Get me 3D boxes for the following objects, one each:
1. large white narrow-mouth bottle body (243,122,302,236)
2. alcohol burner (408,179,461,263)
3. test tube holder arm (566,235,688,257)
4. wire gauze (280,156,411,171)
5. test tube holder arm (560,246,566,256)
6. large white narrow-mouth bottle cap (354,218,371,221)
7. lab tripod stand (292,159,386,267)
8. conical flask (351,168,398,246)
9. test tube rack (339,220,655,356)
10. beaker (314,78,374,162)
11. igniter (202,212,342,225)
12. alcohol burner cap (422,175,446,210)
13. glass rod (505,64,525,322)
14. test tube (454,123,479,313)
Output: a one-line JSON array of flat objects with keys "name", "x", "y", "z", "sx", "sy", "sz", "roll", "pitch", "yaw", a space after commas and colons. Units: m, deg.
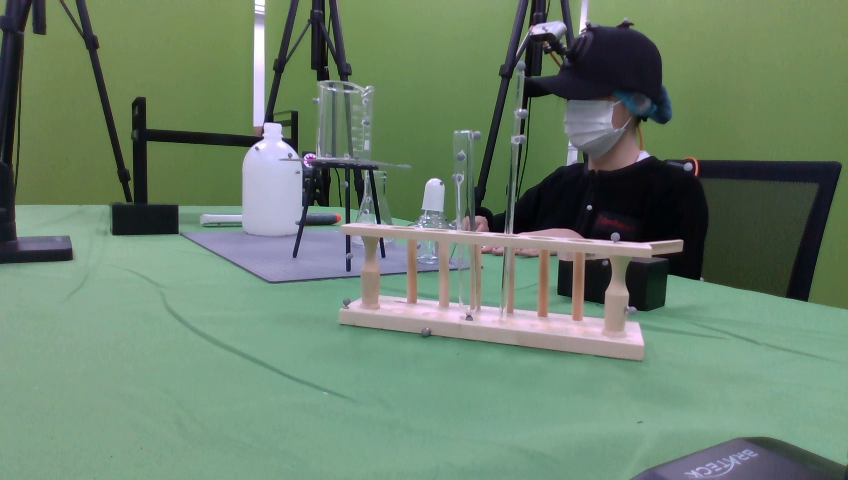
[{"name": "large white narrow-mouth bottle body", "x": -0.264, "y": -0.109, "z": 1.061, "sx": 0.102, "sy": 0.194, "sz": 0.102, "roll": 2, "pitch": 8, "yaw": 0}, {"name": "alcohol burner", "x": 0.014, "y": -0.029, "z": 0.834, "sx": 0.078, "sy": 0.119, "sz": 0.078, "roll": 0, "pitch": 6, "yaw": 0}, {"name": "test tube holder arm", "x": 0.215, "y": 0.006, "z": 0.629, "sx": 0.179, "sy": 0.015, "sz": 0.013, "roll": -3, "pitch": 9, "yaw": -30}, {"name": "wire gauze", "x": -0.103, "y": -0.103, "z": 0.785, "sx": 0.121, "sy": 0.011, "sz": 0.126, "roll": 11, "pitch": 8, "yaw": 42}, {"name": "test tube holder arm", "x": 0.173, "y": 0.007, "z": 0.611, "sx": 0.088, "sy": 0.015, "sz": 0.010, "roll": -3, "pitch": 9, "yaw": -30}, {"name": "large white narrow-mouth bottle cap", "x": -0.120, "y": -0.029, "z": 1.184, "sx": 0.038, "sy": 0.024, "sz": 0.037, "roll": 2, "pitch": 8, "yaw": 0}, {"name": "lab tripod stand", "x": -0.105, "y": -0.039, "z": 0.797, "sx": 0.148, "sy": 0.131, "sz": 0.148, "roll": 2, "pitch": 5, "yaw": 0}, {"name": "conical flask", "x": -0.078, "y": -0.053, "z": 0.962, "sx": 0.075, "sy": 0.122, "sz": 0.075, "roll": 2, "pitch": 7, "yaw": 0}, {"name": "test tube rack", "x": 0.056, "y": 0.032, "z": 0.495, "sx": 0.242, "sy": 0.085, "sz": 0.067, "roll": 4, "pitch": 7, "yaw": 15}, {"name": "beaker", "x": -0.101, "y": -0.151, "z": 0.775, "sx": 0.074, "sy": 0.100, "sz": 0.083, "roll": -2, "pitch": 8, "yaw": -39}, {"name": "igniter", "x": -0.298, "y": -0.043, "z": 1.216, "sx": 0.278, "sy": 0.025, "sz": 0.057, "roll": -3, "pitch": -2, "yaw": -32}, {"name": "alcohol burner cap", "x": 0.016, "y": -0.065, "z": 0.830, "sx": 0.034, "sy": 0.048, "sz": 0.034, "roll": 7, "pitch": 4, "yaw": 0}, {"name": "glass rod", "x": 0.069, "y": -0.030, "z": 0.458, "sx": 0.008, "sy": 0.199, "sz": 0.008, "roll": 0, "pitch": 15, "yaw": 0}, {"name": "test tube", "x": 0.034, "y": -0.016, "z": 0.477, "sx": 0.017, "sy": 0.150, "sz": 0.017, "roll": -2, "pitch": 9, "yaw": 1}]
